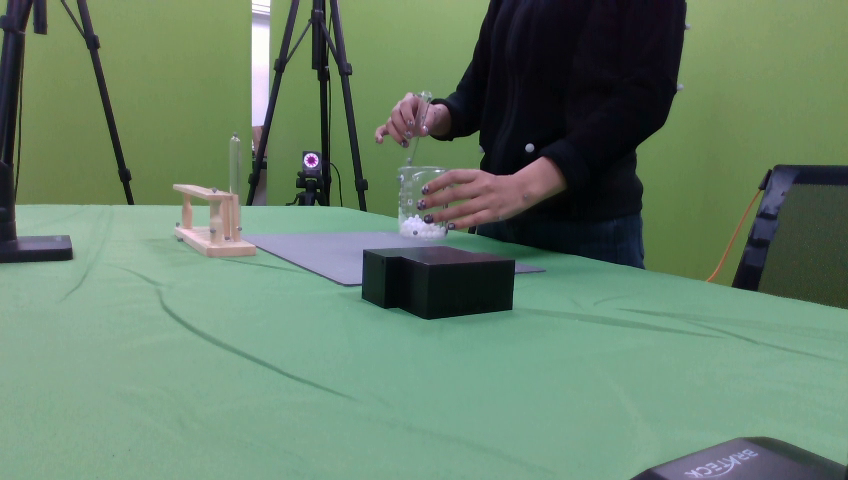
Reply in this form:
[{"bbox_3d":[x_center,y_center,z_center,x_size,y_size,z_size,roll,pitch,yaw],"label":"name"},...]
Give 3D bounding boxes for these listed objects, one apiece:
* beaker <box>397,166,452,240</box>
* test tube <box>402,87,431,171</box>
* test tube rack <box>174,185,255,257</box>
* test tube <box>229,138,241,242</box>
[{"bbox_3d":[-0.002,-0.052,0.844,0.074,0.100,0.083,-1,4,-24],"label":"beaker"},{"bbox_3d":[-0.014,-0.174,0.970,0.017,0.150,0.017,11,37,-8],"label":"test tube"},{"bbox_3d":[-0.324,-0.035,0.922,0.067,0.085,0.241,-2,9,-32],"label":"test tube rack"},{"bbox_3d":[-0.270,-0.071,0.866,0.017,0.150,0.017,2,8,0],"label":"test tube"}]
